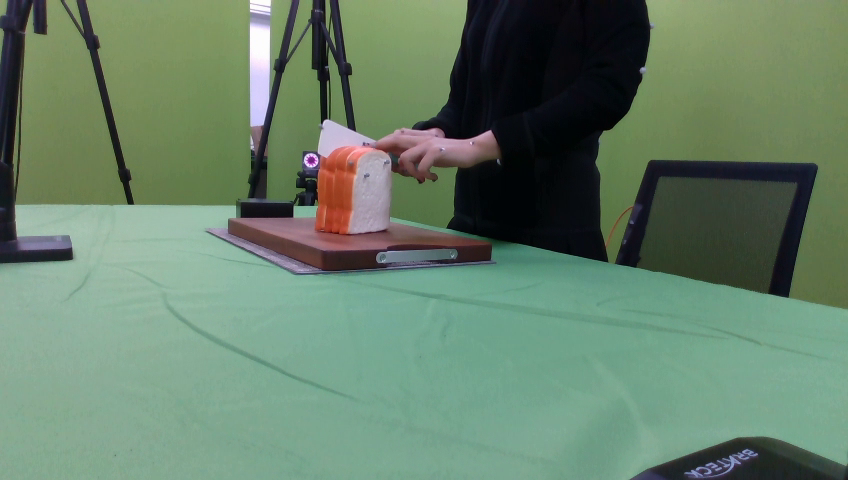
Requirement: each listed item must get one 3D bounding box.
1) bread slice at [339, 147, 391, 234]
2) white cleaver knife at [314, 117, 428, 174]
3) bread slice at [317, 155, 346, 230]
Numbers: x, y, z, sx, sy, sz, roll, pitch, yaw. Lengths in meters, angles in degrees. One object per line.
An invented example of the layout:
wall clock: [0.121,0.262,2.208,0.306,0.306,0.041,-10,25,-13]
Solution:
bread slice: [-0.086,-0.075,0.917,0.019,0.131,0.105,13,13,31]
white cleaver knife: [-0.081,-0.138,0.997,0.021,0.066,0.288,12,1,34]
bread slice: [-0.124,-0.082,0.946,0.018,0.134,0.107,3,2,32]
